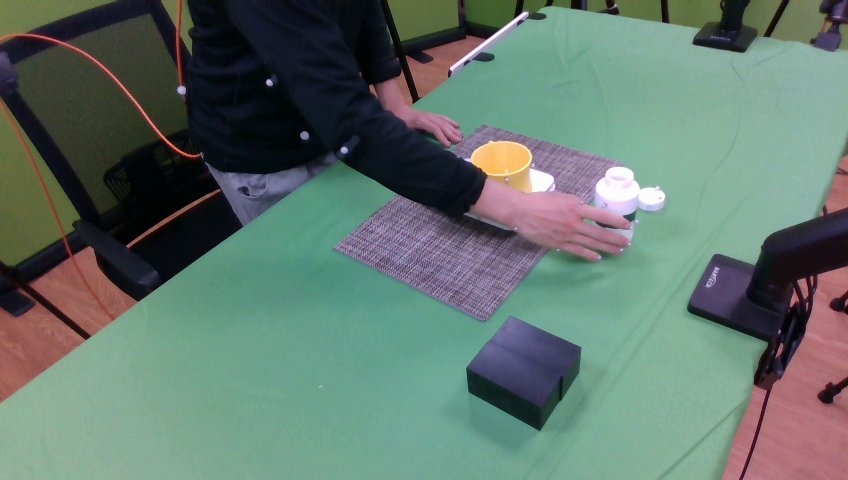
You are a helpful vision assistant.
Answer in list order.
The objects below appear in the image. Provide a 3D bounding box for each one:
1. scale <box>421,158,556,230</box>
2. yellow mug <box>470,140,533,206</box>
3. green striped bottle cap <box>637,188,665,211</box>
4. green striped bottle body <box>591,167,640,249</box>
[{"bbox_3d":[0.110,-0.089,1.042,0.199,0.032,0.149,23,48,31],"label":"scale"},{"bbox_3d":[0.125,-0.121,1.004,0.100,0.064,0.130,-13,40,-5],"label":"yellow mug"},{"bbox_3d":[0.374,-0.067,0.999,0.044,0.020,0.044,-7,39,6],"label":"green striped bottle cap"},{"bbox_3d":[0.288,-0.050,0.910,0.063,0.120,0.063,-4,41,4],"label":"green striped bottle body"}]
